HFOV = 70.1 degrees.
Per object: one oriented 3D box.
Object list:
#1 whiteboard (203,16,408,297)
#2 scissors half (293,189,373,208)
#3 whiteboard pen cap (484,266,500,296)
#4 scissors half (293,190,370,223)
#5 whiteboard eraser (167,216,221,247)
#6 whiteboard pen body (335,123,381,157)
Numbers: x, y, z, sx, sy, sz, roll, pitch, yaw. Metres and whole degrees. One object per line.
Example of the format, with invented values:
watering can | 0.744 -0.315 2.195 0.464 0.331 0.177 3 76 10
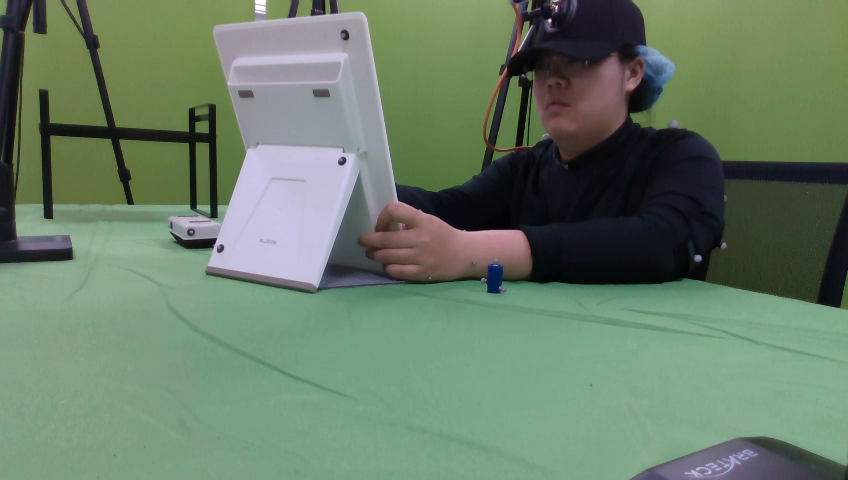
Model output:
whiteboard | -0.166 -0.072 0.669 0.216 0.305 0.144 8 30 30
scissors half | -0.201 -0.096 1.332 0.175 0.040 0.013 5 20 -4
whiteboard pen cap | 0.075 0.046 0.668 0.018 0.033 0.018 3 7 0
scissors half | -0.205 -0.077 1.338 0.175 0.040 0.013 22 12 -8
whiteboard eraser | -0.350 -0.013 0.920 0.056 0.042 0.112 0 7 -35
whiteboard pen body | -0.083 -0.126 0.764 0.017 0.017 0.141 5 24 15
